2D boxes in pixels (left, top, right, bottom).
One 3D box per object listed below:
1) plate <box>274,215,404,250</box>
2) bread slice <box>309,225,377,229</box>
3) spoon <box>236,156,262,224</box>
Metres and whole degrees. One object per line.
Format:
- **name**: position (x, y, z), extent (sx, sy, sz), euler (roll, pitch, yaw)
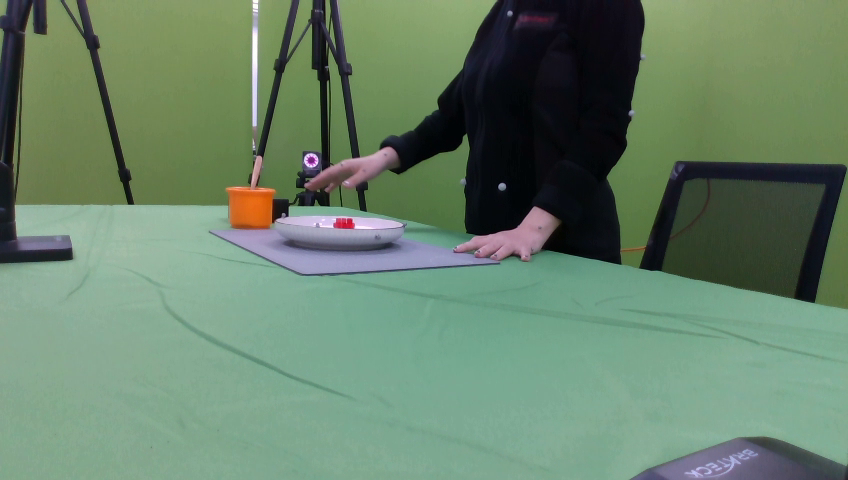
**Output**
- **plate**: position (-0.136, -0.013, 0.981), extent (0.209, 0.038, 0.209), euler (2, 7, 0)
- **bread slice**: position (-0.133, -0.011, 0.974), extent (0.135, 0.018, 0.106), euler (-3, 8, -33)
- **spoon**: position (-0.338, -0.102, 1.197), extent (0.042, 0.193, 0.021), euler (1, -37, -4)
